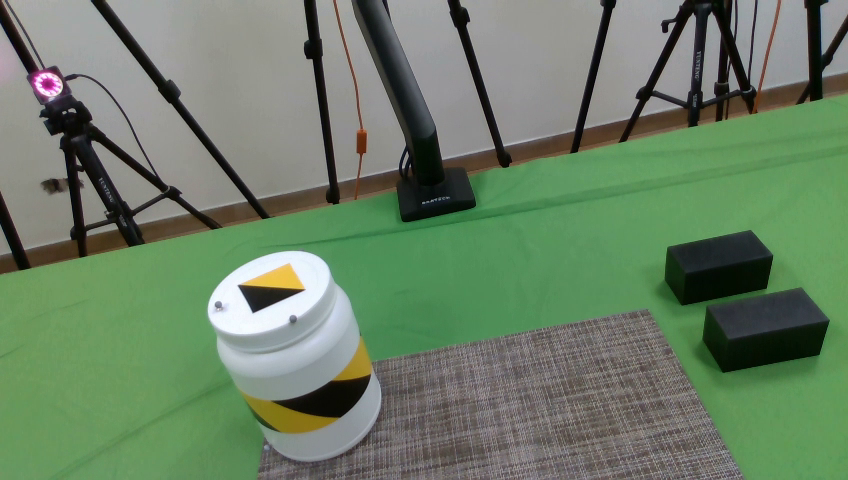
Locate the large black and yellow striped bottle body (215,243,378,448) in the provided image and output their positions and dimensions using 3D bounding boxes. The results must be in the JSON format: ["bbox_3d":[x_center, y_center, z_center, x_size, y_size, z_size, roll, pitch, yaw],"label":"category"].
[{"bbox_3d":[-0.129,0.106,0.612,0.130,0.186,0.129,-8,38,7],"label":"large black and yellow striped bottle body"}]

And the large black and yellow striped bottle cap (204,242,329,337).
[{"bbox_3d":[-0.145,0.042,0.561,0.115,0.019,0.114,-7,37,6],"label":"large black and yellow striped bottle cap"}]
